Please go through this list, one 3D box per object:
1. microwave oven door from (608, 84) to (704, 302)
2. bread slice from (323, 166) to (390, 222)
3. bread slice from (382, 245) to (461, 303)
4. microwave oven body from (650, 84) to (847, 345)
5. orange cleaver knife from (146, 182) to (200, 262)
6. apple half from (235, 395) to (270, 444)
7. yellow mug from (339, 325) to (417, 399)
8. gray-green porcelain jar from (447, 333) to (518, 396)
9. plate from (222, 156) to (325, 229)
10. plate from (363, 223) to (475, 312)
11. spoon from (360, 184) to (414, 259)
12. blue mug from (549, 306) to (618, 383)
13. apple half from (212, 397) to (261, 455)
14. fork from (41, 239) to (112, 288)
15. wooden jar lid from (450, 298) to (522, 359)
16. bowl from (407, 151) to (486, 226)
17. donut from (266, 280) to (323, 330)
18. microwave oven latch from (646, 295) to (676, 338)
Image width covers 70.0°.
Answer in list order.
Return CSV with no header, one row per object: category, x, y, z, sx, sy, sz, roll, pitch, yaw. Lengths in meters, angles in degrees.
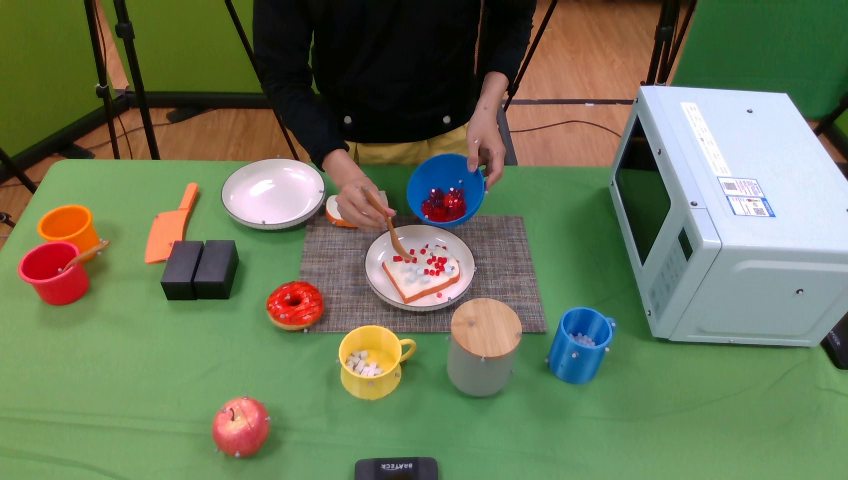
microwave oven door,0.424,-0.096,1.138,0.039,0.245,0.353,2,46,-1
bread slice,-0.140,-0.092,1.224,0.134,0.018,0.106,-19,51,6
bread slice,0.001,0.054,1.128,0.131,0.019,0.104,-21,52,-20
microwave oven body,0.569,-0.054,1.116,0.326,0.261,0.439,2,46,-1
orange cleaver knife,-0.494,-0.039,1.198,0.077,0.012,0.210,-3,48,2
apple half,-0.245,0.260,0.893,0.033,0.082,0.081,-29,55,-22
yellow mug,-0.072,0.190,0.978,0.131,0.064,0.099,-17,50,-20
gray-green porcelain jar,0.091,0.178,0.960,0.106,0.127,0.105,2,46,-2
plate,-0.308,-0.095,1.251,0.209,0.038,0.208,3,47,-3
plate,-0.009,0.054,1.127,0.208,0.039,0.206,2,47,-2
spoon,-0.062,-0.029,1.022,0.021,0.195,0.041,-41,44,-14
blue mug,0.269,0.167,0.997,0.116,0.106,0.082,-19,50,-21
apple half,-0.276,0.276,0.877,0.053,0.075,0.080,-29,58,-21
fork,-0.591,0.040,1.028,0.207,0.019,0.028,-27,37,29
wooden jar lid,0.093,0.135,0.914,0.108,0.021,0.107,3,48,-3
bowl,0.050,-0.086,1.162,0.151,0.077,0.150,-6,66,13
donut,-0.223,0.113,1.051,0.099,0.048,0.098,2,45,-2
microwave oven latch,0.413,0.133,1.060,0.030,0.029,0.078,4,46,1
